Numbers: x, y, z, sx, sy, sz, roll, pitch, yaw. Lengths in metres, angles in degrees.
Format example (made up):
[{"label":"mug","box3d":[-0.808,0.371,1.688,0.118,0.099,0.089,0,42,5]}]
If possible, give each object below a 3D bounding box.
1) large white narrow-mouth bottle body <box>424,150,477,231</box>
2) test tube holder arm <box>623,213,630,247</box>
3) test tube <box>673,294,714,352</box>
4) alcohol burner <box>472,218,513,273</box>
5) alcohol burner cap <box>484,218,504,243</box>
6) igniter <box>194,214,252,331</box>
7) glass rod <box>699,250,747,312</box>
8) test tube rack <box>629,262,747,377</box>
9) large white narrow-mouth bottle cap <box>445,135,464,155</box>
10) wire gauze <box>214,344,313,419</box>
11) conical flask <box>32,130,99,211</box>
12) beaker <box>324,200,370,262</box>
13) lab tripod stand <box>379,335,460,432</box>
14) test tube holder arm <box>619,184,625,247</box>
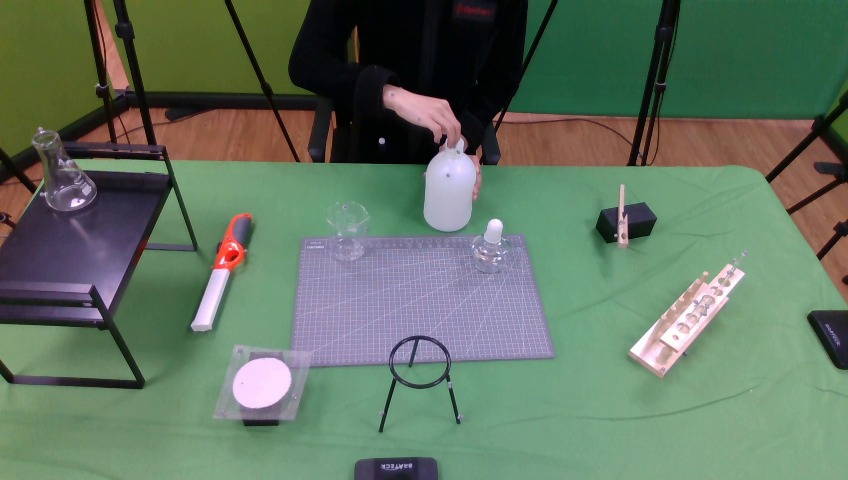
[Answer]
[{"label":"large white narrow-mouth bottle body","box3d":[0.054,-0.115,1.191,0.102,0.195,0.101,2,46,-2]},{"label":"test tube holder arm","box3d":[0.393,-0.020,1.179,0.010,0.015,0.087,13,46,2]},{"label":"test tube","box3d":[0.428,0.137,0.978,0.017,0.151,0.017,4,47,-4]},{"label":"alcohol burner","box3d":[0.128,0.005,1.132,0.078,0.120,0.077,0,47,0]},{"label":"alcohol burner cap","box3d":[0.130,-0.021,1.106,0.034,0.048,0.033,3,51,-4]},{"label":"igniter","box3d":[-0.367,0.050,1.119,0.057,0.025,0.275,-4,45,7]},{"label":"glass rod","box3d":[0.500,0.074,1.021,0.008,0.201,0.008,0,55,0]},{"label":"test tube rack","box3d":[0.464,0.126,1.060,0.242,0.085,0.066,-34,56,-31]},{"label":"large white narrow-mouth bottle cap","box3d":[0.058,-0.176,1.126,0.038,0.024,0.037,2,46,-2]},{"label":"wire gauze","box3d":[-0.241,0.213,0.916,0.121,0.011,0.124,5,46,1]},{"label":"conical flask","box3d":[-0.565,-0.110,0.944,0.075,0.122,0.075,2,46,-2]},{"label":"beaker","box3d":[-0.143,-0.015,1.142,0.084,0.101,0.073,1,46,-4]},{"label":"lab tripod stand","box3d":[-0.011,0.214,0.911,0.148,0.132,0.147,1,45,0]},{"label":"test tube holder arm","box3d":[0.396,-0.052,1.210,0.013,0.015,0.177,14,46,2]}]
